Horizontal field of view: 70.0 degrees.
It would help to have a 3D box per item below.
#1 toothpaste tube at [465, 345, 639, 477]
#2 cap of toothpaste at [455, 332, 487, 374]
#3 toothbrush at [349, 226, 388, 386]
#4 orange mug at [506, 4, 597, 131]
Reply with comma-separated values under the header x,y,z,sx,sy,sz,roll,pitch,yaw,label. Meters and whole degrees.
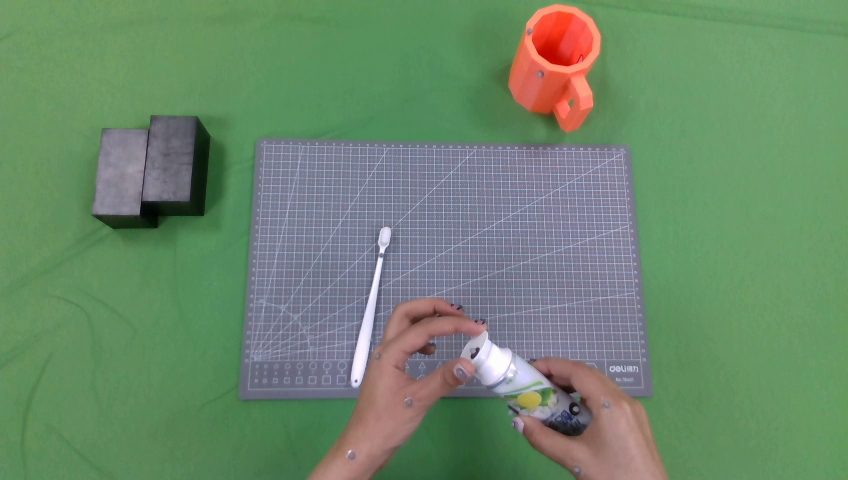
x,y,z,sx,sy,sz,roll,pitch,yaw,label
0.098,0.138,0.491,0.166,0.034,0.055,37,114,-14,toothpaste tube
0.038,0.089,0.471,0.011,0.037,0.037,34,75,-9,cap of toothpaste
-0.061,0.070,0.670,0.014,0.016,0.181,13,77,-14,toothbrush
0.155,-0.196,0.713,0.083,0.101,0.125,-21,73,-8,orange mug
